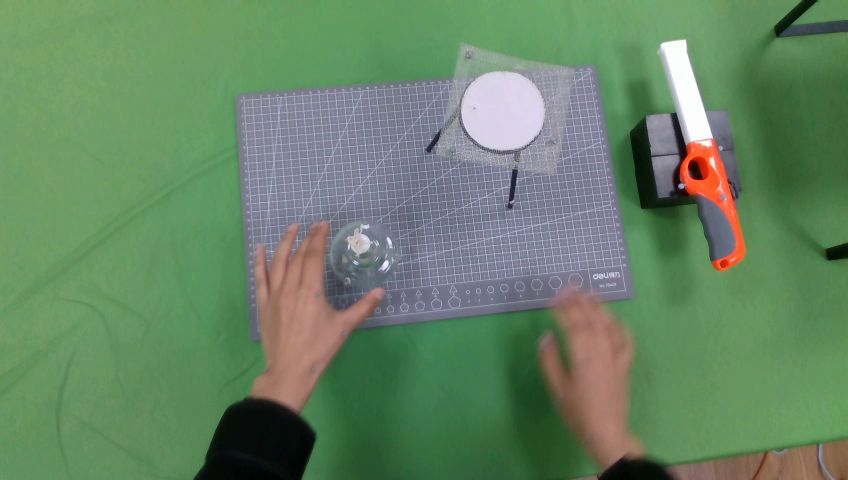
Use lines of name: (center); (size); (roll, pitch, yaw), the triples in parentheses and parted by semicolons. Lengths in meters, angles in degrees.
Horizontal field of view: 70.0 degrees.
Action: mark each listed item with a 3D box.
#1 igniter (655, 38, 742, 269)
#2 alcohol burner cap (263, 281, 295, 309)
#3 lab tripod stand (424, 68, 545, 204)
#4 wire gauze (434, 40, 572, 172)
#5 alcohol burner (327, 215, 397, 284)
igniter: (0.313, -0.103, 0.694); (0.057, 0.025, 0.275); (-9, 78, -2)
alcohol burner cap: (-0.165, 0.060, 0.677); (0.034, 0.048, 0.033); (1, 80, -5)
lab tripod stand: (0.076, -0.125, 0.676); (0.148, 0.132, 0.147); (1, 78, -2)
wire gauze: (0.082, -0.135, 0.610); (0.121, 0.011, 0.124); (13, 78, -1)
alcohol burner: (-0.068, 0.008, 0.655); (0.078, 0.119, 0.077); (0, 81, -3)
